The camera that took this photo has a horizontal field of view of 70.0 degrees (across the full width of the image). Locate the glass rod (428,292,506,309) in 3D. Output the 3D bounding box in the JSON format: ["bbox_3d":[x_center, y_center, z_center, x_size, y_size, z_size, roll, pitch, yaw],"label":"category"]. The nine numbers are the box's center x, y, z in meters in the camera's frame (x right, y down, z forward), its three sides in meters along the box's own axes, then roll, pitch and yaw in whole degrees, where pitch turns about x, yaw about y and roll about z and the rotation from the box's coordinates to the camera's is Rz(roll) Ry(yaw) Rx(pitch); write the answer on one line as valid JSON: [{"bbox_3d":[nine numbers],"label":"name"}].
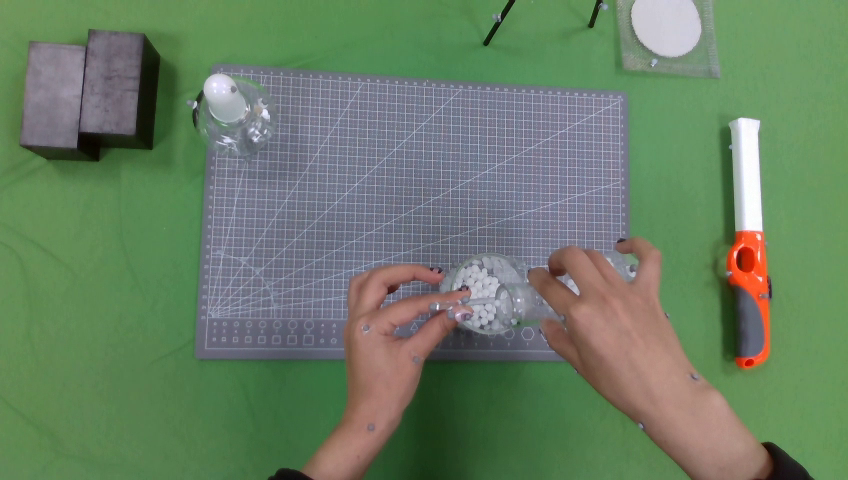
[{"bbox_3d":[0.043,0.051,0.518,0.008,0.201,0.008,-1,87,22],"label":"glass rod"}]

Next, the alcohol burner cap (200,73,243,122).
[{"bbox_3d":[-0.179,-0.128,0.533,0.034,0.048,0.033,2,76,-9],"label":"alcohol burner cap"}]

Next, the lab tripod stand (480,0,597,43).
[{"bbox_3d":[0.124,-0.273,0.618,0.149,0.131,0.148,1,86,-7],"label":"lab tripod stand"}]

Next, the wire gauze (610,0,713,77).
[{"bbox_3d":[0.275,-0.251,0.699,0.125,0.011,0.121,0,84,-9],"label":"wire gauze"}]

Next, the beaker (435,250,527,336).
[{"bbox_3d":[0.053,0.050,0.590,0.084,0.100,0.074,-41,90,-10],"label":"beaker"}]

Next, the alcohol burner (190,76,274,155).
[{"bbox_3d":[-0.183,-0.122,0.568,0.078,0.119,0.077,1,84,-5],"label":"alcohol burner"}]

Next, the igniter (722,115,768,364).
[{"bbox_3d":[0.355,-0.002,0.674,0.057,0.025,0.275,3,84,-18],"label":"igniter"}]

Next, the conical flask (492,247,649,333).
[{"bbox_3d":[0.119,0.047,0.508,0.122,0.075,0.075,-4,84,-19],"label":"conical flask"}]
